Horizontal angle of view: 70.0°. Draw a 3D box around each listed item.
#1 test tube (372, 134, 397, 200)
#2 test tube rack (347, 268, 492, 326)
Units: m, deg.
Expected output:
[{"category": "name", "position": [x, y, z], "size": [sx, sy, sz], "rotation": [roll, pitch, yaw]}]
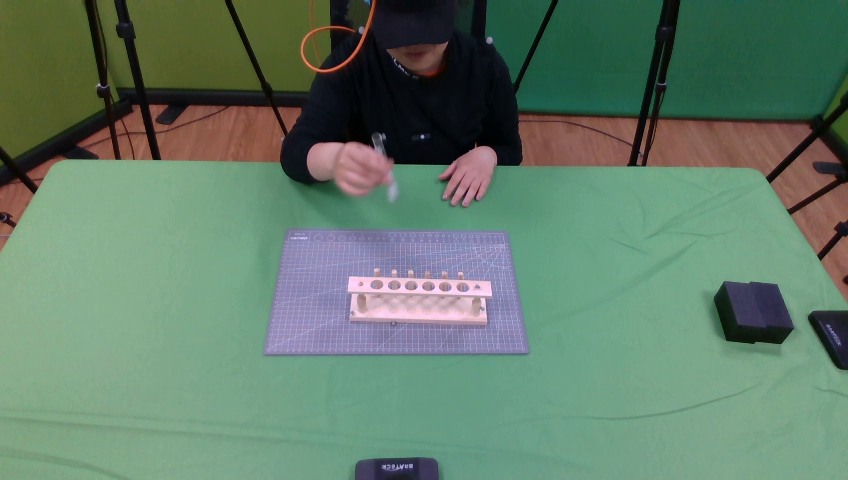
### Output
[{"category": "test tube", "position": [-0.066, -0.122, 1.041], "size": [0.017, 0.151, 0.017], "rotation": [-5, 51, 7]}, {"category": "test tube rack", "position": [-0.009, 0.095, 1.059], "size": [0.242, 0.085, 0.066], "rotation": [2, 46, -2]}]
